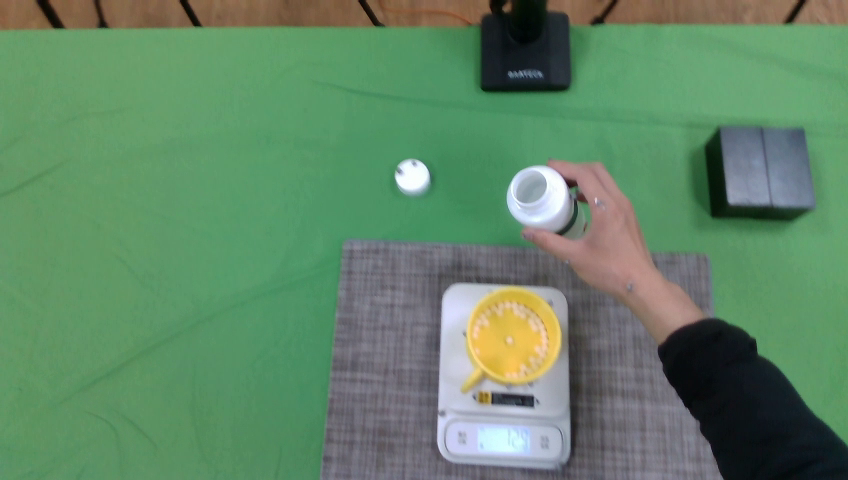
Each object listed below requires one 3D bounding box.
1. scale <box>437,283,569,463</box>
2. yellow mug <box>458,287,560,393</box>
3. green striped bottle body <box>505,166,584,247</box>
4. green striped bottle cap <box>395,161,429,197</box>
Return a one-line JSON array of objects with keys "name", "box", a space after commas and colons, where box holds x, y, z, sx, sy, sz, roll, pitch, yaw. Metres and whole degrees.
[{"name": "scale", "box": [0.092, 0.150, 0.699, 0.148, 0.032, 0.200, 2, 75, 4]}, {"name": "yellow mug", "box": [0.083, 0.117, 0.660, 0.099, 0.064, 0.131, 42, 81, 12]}, {"name": "green striped bottle body", "box": [0.125, -0.037, 0.638, 0.063, 0.120, 0.063, -7, 72, 25]}, {"name": "green striped bottle cap", "box": [-0.015, -0.079, 0.784, 0.044, 0.020, 0.044, -1, 78, 3]}]
